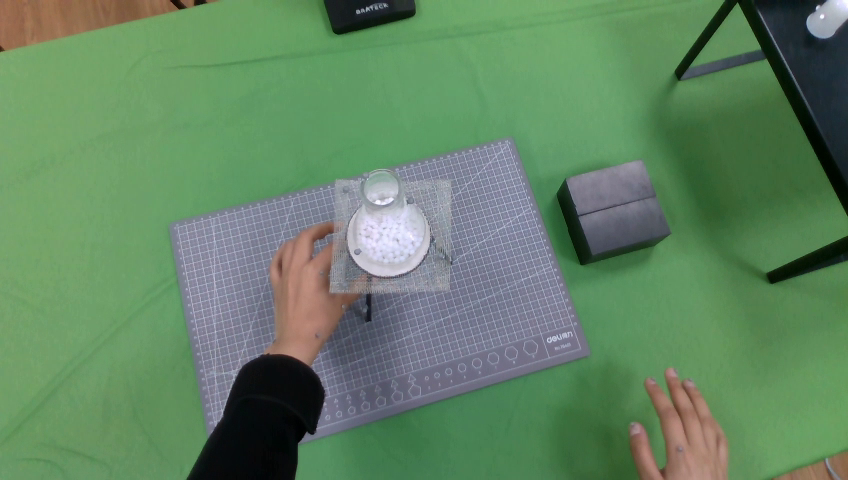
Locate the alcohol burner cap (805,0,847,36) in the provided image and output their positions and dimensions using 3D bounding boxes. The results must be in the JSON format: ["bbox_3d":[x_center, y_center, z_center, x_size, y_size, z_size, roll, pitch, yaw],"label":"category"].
[{"bbox_3d":[0.427,-0.240,0.630,0.034,0.048,0.033,1,73,-2],"label":"alcohol burner cap"}]

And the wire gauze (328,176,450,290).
[{"bbox_3d":[-0.034,-0.010,0.618,0.121,0.011,0.124,2,72,-2],"label":"wire gauze"}]

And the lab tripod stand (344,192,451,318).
[{"bbox_3d":[-0.042,0.009,0.681,0.148,0.132,0.147,0,74,1],"label":"lab tripod stand"}]

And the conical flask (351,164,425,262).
[{"bbox_3d":[-0.036,-0.029,0.562,0.075,0.122,0.075,0,73,0],"label":"conical flask"}]

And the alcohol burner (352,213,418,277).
[{"bbox_3d":[-0.045,0.001,0.694,0.078,0.119,0.077,0,75,-1],"label":"alcohol burner"}]
